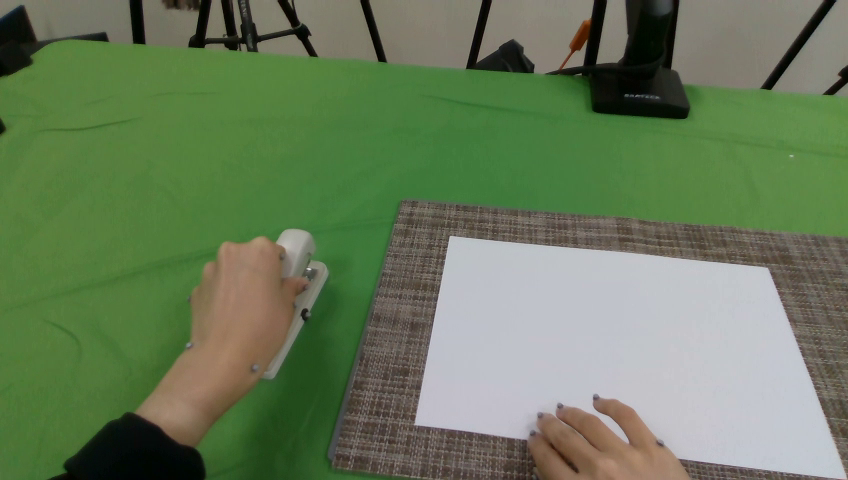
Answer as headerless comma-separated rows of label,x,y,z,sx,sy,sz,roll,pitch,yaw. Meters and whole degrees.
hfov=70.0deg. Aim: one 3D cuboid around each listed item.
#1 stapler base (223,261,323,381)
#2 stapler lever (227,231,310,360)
stapler base,-0.125,0.058,0.511,0.041,0.024,0.129,8,44,11
stapler lever,-0.125,0.040,0.493,0.027,0.040,0.117,8,44,11
